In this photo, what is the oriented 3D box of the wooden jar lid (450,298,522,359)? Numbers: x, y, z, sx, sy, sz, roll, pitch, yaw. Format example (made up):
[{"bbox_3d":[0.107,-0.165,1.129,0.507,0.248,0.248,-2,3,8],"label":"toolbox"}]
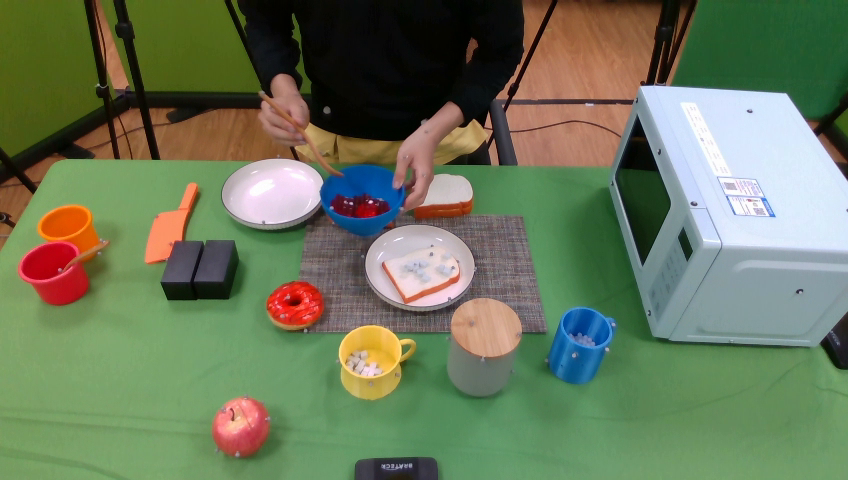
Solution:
[{"bbox_3d":[0.093,0.135,0.914,0.108,0.021,0.107,3,48,-3],"label":"wooden jar lid"}]

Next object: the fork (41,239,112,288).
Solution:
[{"bbox_3d":[-0.591,0.040,1.028,0.207,0.019,0.028,-27,37,29],"label":"fork"}]

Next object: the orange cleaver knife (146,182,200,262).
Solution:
[{"bbox_3d":[-0.494,-0.039,1.198,0.077,0.012,0.210,-3,48,2],"label":"orange cleaver knife"}]

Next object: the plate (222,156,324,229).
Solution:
[{"bbox_3d":[-0.308,-0.095,1.251,0.209,0.038,0.208,3,47,-3],"label":"plate"}]

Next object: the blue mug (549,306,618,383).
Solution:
[{"bbox_3d":[0.269,0.167,0.997,0.116,0.106,0.082,-19,51,-21],"label":"blue mug"}]

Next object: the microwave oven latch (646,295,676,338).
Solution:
[{"bbox_3d":[0.413,0.133,1.061,0.030,0.029,0.078,4,46,1],"label":"microwave oven latch"}]

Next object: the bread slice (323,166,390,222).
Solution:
[{"bbox_3d":[-0.140,-0.092,1.224,0.134,0.018,0.106,-19,51,6],"label":"bread slice"}]

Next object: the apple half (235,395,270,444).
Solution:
[{"bbox_3d":[-0.245,0.260,0.893,0.033,0.082,0.081,-29,55,-22],"label":"apple half"}]

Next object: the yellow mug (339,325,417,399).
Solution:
[{"bbox_3d":[-0.072,0.190,0.978,0.131,0.064,0.099,-17,50,-20],"label":"yellow mug"}]

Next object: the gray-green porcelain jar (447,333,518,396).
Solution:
[{"bbox_3d":[0.091,0.178,0.960,0.106,0.127,0.105,2,46,-2],"label":"gray-green porcelain jar"}]

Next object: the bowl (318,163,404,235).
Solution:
[{"bbox_3d":[-0.109,-0.061,1.085,0.151,0.077,0.150,1,45,-1],"label":"bowl"}]

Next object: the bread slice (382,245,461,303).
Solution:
[{"bbox_3d":[0.000,0.054,1.128,0.131,0.019,0.104,-20,51,-21],"label":"bread slice"}]

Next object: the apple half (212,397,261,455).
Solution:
[{"bbox_3d":[-0.276,0.276,0.877,0.053,0.075,0.080,-29,58,-21],"label":"apple half"}]

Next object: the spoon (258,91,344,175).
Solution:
[{"bbox_3d":[-0.203,-0.176,1.013,0.021,0.195,0.041,-41,26,-3],"label":"spoon"}]

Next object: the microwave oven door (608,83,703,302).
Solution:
[{"bbox_3d":[0.424,-0.096,1.138,0.039,0.245,0.353,2,47,-1],"label":"microwave oven door"}]

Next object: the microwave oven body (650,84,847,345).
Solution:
[{"bbox_3d":[0.569,-0.054,1.116,0.326,0.261,0.439,2,46,-1],"label":"microwave oven body"}]

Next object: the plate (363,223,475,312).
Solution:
[{"bbox_3d":[-0.009,0.054,1.126,0.208,0.039,0.206,2,47,-2],"label":"plate"}]

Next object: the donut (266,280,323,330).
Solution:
[{"bbox_3d":[-0.223,0.113,1.051,0.099,0.048,0.098,2,45,-2],"label":"donut"}]
